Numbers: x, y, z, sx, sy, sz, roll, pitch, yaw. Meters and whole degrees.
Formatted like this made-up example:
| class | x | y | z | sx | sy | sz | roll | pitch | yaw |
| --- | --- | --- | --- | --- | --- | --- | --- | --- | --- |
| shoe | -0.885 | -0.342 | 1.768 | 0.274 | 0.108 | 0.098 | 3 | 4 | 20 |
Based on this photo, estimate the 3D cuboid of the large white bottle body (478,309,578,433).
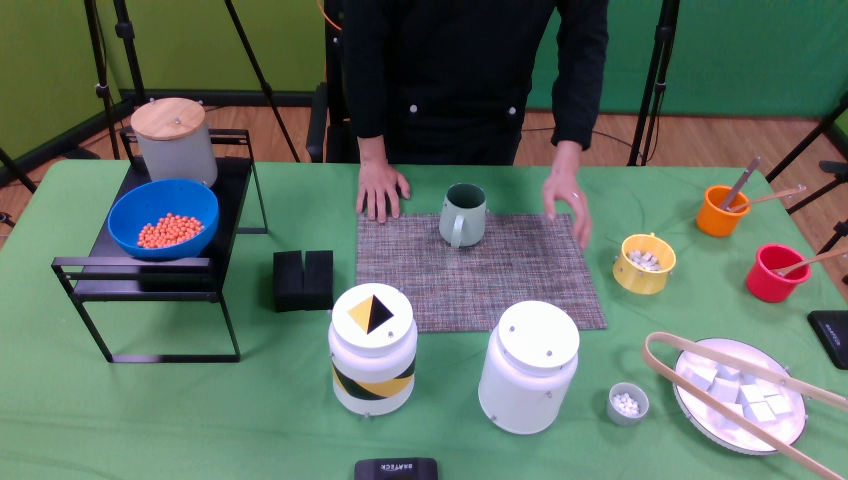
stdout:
| class | x | y | z | sx | sy | sz | roll | pitch | yaw |
| --- | --- | --- | --- | --- | --- | --- | --- | --- | --- |
| large white bottle body | 0.155 | 0.192 | 0.913 | 0.131 | 0.185 | 0.130 | 2 | 46 | -2 |

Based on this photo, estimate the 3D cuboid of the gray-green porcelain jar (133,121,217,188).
| class | x | y | z | sx | sy | sz | roll | pitch | yaw |
| --- | --- | --- | --- | --- | --- | --- | --- | --- | --- |
| gray-green porcelain jar | -0.397 | -0.141 | 0.980 | 0.106 | 0.127 | 0.105 | 2 | 47 | -2 |

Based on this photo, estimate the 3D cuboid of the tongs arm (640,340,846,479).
| class | x | y | z | sx | sy | sz | roll | pitch | yaw |
| --- | --- | --- | --- | --- | --- | --- | --- | --- | --- |
| tongs arm | 0.500 | 0.277 | 0.919 | 0.386 | 0.028 | 0.028 | 34 | 59 | 22 |

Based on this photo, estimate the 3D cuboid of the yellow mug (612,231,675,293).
| class | x | y | z | sx | sy | sz | roll | pitch | yaw |
| --- | --- | --- | --- | --- | --- | --- | --- | --- | --- |
| yellow mug | 0.424 | 0.033 | 1.168 | 0.100 | 0.064 | 0.130 | 18 | 46 | 14 |

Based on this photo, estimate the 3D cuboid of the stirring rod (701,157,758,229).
| class | x | y | z | sx | sy | sz | roll | pitch | yaw |
| --- | --- | --- | --- | --- | --- | --- | --- | --- | --- |
| stirring rod | 0.634 | -0.096 | 1.257 | 0.014 | 0.006 | 0.176 | 38 | 97 | 30 |

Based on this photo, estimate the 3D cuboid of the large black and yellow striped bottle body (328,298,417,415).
| class | x | y | z | sx | sy | sz | roll | pitch | yaw |
| --- | --- | --- | --- | --- | --- | --- | --- | --- | --- |
| large black and yellow striped bottle body | -0.078 | 0.167 | 0.920 | 0.131 | 0.185 | 0.130 | 2 | 46 | -2 |

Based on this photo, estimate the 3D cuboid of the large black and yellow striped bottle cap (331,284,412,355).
| class | x | y | z | sx | sy | sz | roll | pitch | yaw |
| --- | --- | --- | --- | --- | --- | --- | --- | --- | --- |
| large black and yellow striped bottle cap | -0.073 | 0.110 | 0.858 | 0.115 | 0.019 | 0.114 | 2 | 46 | -2 |

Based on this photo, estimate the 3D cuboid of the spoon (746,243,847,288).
| class | x | y | z | sx | sy | sz | roll | pitch | yaw |
| --- | --- | --- | --- | --- | --- | --- | --- | --- | --- |
| spoon | 0.702 | 0.044 | 1.126 | 0.194 | 0.022 | 0.041 | -29 | 37 | 30 |

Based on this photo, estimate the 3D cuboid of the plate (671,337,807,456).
| class | x | y | z | sx | sy | sz | roll | pitch | yaw |
| --- | --- | --- | --- | --- | --- | --- | --- | --- | --- |
| plate | 0.503 | 0.254 | 0.984 | 0.208 | 0.039 | 0.206 | 2 | 46 | -2 |

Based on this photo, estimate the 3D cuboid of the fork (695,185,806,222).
| class | x | y | z | sx | sy | sz | roll | pitch | yaw |
| --- | --- | --- | --- | --- | --- | --- | --- | --- | --- |
| fork | 0.658 | -0.074 | 1.230 | 0.207 | 0.019 | 0.028 | -23 | 36 | 37 |

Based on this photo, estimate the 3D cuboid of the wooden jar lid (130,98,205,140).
| class | x | y | z | sx | sy | sz | roll | pitch | yaw |
| --- | --- | --- | --- | --- | --- | --- | --- | --- | --- |
| wooden jar lid | -0.393 | -0.183 | 0.934 | 0.108 | 0.021 | 0.107 | 3 | 44 | -2 |

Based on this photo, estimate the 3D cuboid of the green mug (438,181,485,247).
| class | x | y | z | sx | sy | sz | roll | pitch | yaw |
| --- | --- | --- | --- | --- | --- | --- | --- | --- | --- |
| green mug | 0.071 | -0.039 | 1.177 | 0.092 | 0.105 | 0.124 | 12 | 47 | 7 |

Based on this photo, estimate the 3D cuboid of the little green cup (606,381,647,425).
| class | x | y | z | sx | sy | sz | roll | pitch | yaw |
| --- | --- | --- | --- | --- | --- | --- | --- | --- | --- |
| little green cup | 0.319 | 0.261 | 0.962 | 0.061 | 0.039 | 0.061 | 2 | 45 | -2 |

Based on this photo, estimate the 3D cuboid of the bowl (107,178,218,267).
| class | x | y | z | sx | sy | sz | roll | pitch | yaw |
| --- | --- | --- | --- | --- | --- | --- | --- | --- | --- |
| bowl | -0.374 | -0.014 | 0.893 | 0.151 | 0.077 | 0.150 | 2 | 46 | -2 |

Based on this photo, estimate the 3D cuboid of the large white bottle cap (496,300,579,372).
| class | x | y | z | sx | sy | sz | roll | pitch | yaw |
| --- | --- | --- | --- | --- | --- | --- | --- | --- | --- |
| large white bottle cap | 0.160 | 0.133 | 0.852 | 0.115 | 0.018 | 0.114 | 3 | 46 | -2 |

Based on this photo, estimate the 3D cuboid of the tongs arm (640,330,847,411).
| class | x | y | z | sx | sy | sz | roll | pitch | yaw |
| --- | --- | --- | --- | --- | --- | --- | --- | --- | --- |
| tongs arm | 0.543 | 0.226 | 0.969 | 0.384 | 0.026 | 0.050 | 22 | 52 | 13 |
